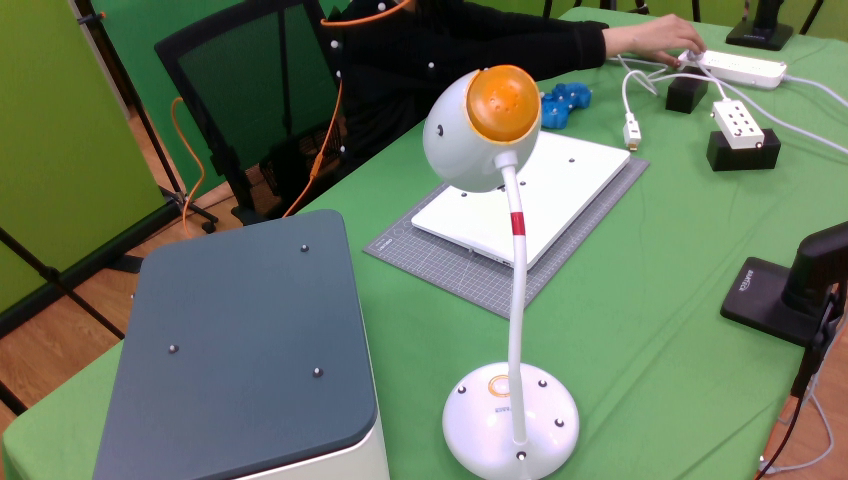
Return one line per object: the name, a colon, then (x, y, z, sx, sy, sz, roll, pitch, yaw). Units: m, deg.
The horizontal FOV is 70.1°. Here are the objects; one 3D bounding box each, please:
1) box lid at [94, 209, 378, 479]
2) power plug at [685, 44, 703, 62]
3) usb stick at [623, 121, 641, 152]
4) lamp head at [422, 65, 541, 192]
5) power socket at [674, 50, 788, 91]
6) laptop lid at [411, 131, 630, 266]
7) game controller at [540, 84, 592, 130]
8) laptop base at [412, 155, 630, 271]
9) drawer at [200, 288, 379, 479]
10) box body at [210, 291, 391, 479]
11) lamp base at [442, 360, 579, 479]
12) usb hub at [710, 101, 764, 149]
box lid: (-0.202, 0.094, 0.680, 0.264, 0.015, 0.368, -13, 39, -5)
power plug: (0.568, -0.390, 1.294, 0.073, 0.053, 0.035, -33, 46, -22)
usb stick: (0.389, -0.191, 1.129, 0.021, 0.027, 0.059, 6, 61, -6)
lamp head: (0.060, -0.106, 0.560, 0.113, 0.112, 0.122, -16, 0, -8)
power socket: (0.647, -0.363, 1.284, 0.225, 0.033, 0.072, 25, 52, 34)
laptop lid: (0.172, -0.094, 1.050, 0.239, 0.013, 0.358, 23, 49, 36)
game controller: (0.277, -0.282, 1.251, 0.096, 0.052, 0.155, 27, 52, 31)
laptop base: (0.176, -0.085, 1.056, 0.233, 0.023, 0.355, 20, 48, 36)
drawer: (-0.172, 0.176, 0.760, 0.195, 0.073, 0.210, -13, 42, -8)
box body: (-0.190, 0.161, 0.723, 0.255, 0.161, 0.361, -13, 40, -5)
lamp base: (0.094, 0.158, 0.657, 0.161, 0.181, 0.178, -13, 42, -5)
usb hub: (0.536, -0.200, 1.041, 0.049, 0.025, 0.124, -4, 39, 8)
